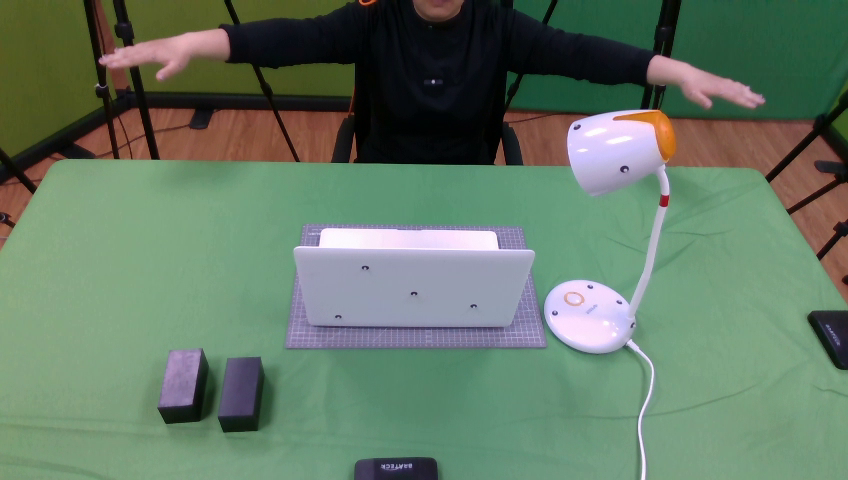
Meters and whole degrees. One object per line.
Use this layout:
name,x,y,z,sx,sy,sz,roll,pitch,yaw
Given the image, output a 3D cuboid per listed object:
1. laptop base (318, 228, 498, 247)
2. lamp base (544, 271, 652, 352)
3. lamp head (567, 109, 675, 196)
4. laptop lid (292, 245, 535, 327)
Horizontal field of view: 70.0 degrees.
laptop base,-0.028,0.066,1.134,0.355,0.023,0.234,1,43,-4
lamp base,0.310,0.086,1.029,0.178,0.181,0.160,32,52,21
lamp head,0.272,-0.123,0.818,0.122,0.113,0.112,-9,35,37
laptop lid,-0.018,0.080,0.956,0.357,0.243,0.013,2,54,-5
